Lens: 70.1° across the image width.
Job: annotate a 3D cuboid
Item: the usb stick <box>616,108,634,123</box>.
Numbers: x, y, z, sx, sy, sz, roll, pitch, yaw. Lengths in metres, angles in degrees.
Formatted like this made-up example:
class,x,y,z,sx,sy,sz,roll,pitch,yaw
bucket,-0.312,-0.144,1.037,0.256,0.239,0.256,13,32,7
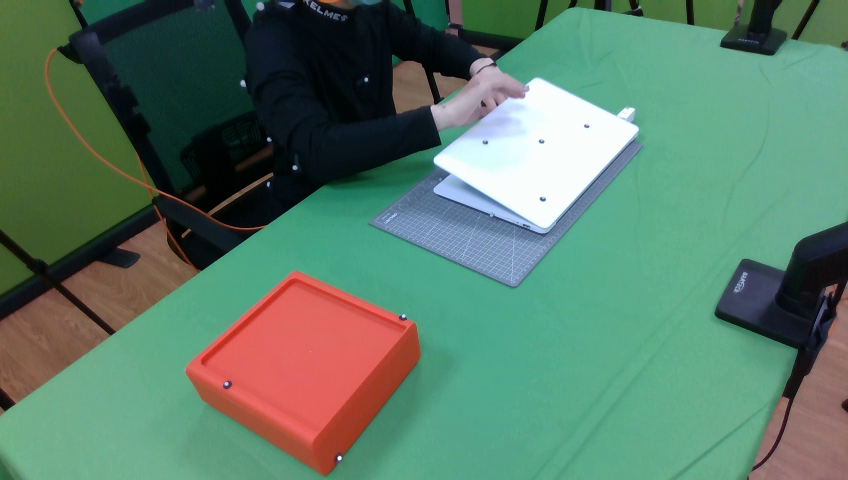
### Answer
class,x,y,z,sx,sy,sz,roll,pitch,yaw
usb stick,0.386,-0.233,1.174,0.021,0.027,0.059,21,46,29

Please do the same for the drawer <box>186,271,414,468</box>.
class,x,y,z,sx,sy,sz,roll,pitch,yaw
drawer,-0.150,0.154,0.768,0.210,0.073,0.195,20,46,28

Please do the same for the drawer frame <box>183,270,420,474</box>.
class,x,y,z,sx,sy,sz,roll,pitch,yaw
drawer frame,-0.148,0.153,0.767,0.212,0.083,0.202,20,46,27

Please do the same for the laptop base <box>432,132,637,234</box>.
class,x,y,z,sx,sy,sz,roll,pitch,yaw
laptop base,0.210,-0.142,1.111,0.233,0.023,0.355,21,48,33

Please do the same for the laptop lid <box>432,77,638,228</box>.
class,x,y,z,sx,sy,sz,roll,pitch,yaw
laptop lid,0.208,-0.174,1.081,0.240,0.013,0.358,35,54,20
